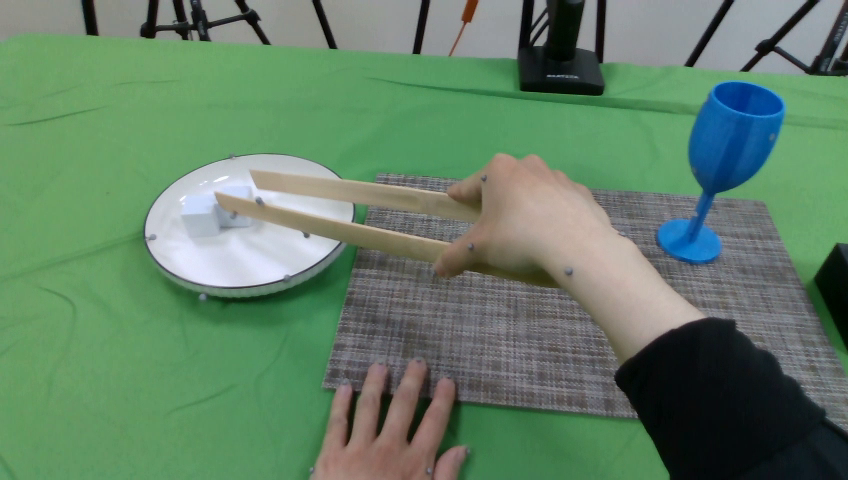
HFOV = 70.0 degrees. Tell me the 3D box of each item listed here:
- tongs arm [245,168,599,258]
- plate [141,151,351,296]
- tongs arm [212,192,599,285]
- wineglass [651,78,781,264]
[{"bbox_3d":[-0.028,-0.032,0.539,0.385,0.028,0.028,12,38,32],"label":"tongs arm"},{"bbox_3d":[-0.178,-0.018,0.627,0.209,0.038,0.207,1,44,-1],"label":"plate"},{"bbox_3d":[-0.044,-0.015,0.520,0.382,0.027,0.050,14,43,34],"label":"tongs arm"},{"bbox_3d":[0.277,-0.063,0.587,0.074,0.174,0.073,1,44,0],"label":"wineglass"}]
